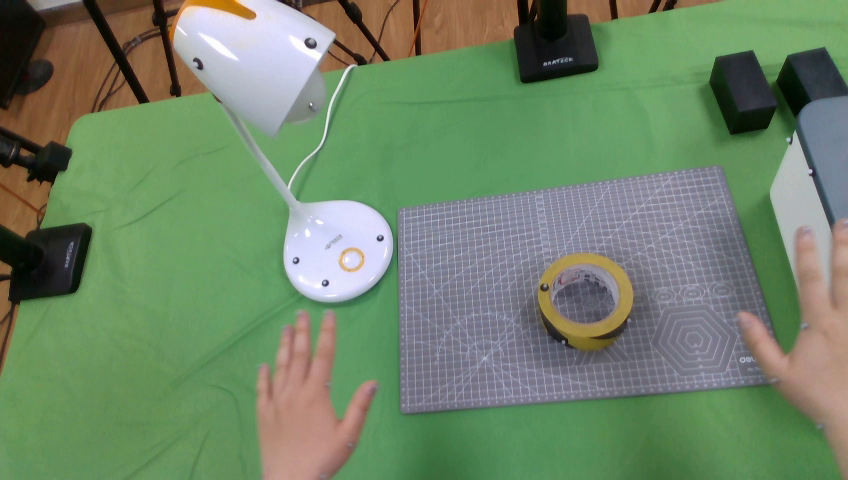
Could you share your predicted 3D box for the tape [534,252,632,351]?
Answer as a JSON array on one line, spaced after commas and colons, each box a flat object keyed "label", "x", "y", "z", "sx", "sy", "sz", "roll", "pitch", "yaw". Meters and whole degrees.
[{"label": "tape", "x": 0.195, "y": 0.074, "z": 0.744, "sx": 0.116, "sy": 0.053, "sz": 0.116, "roll": -5, "pitch": 62, "yaw": 9}]

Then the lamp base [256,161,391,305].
[{"label": "lamp base", "x": -0.150, "y": -0.022, "z": 0.800, "sx": 0.178, "sy": 0.182, "sz": 0.160, "roll": 30, "pitch": 72, "yaw": 27}]

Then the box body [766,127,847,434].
[{"label": "box body", "x": 0.545, "y": 0.028, "z": 0.630, "sx": 0.254, "sy": 0.162, "sz": 0.361, "roll": -7, "pitch": 62, "yaw": 9}]

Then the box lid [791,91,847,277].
[{"label": "box lid", "x": 0.531, "y": -0.008, "z": 0.567, "sx": 0.263, "sy": 0.015, "sz": 0.368, "roll": -7, "pitch": 62, "yaw": 9}]

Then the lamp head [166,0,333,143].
[{"label": "lamp head", "x": -0.158, "y": -0.161, "z": 0.534, "sx": 0.123, "sy": 0.112, "sz": 0.112, "roll": 28, "pitch": 68, "yaw": -12}]
